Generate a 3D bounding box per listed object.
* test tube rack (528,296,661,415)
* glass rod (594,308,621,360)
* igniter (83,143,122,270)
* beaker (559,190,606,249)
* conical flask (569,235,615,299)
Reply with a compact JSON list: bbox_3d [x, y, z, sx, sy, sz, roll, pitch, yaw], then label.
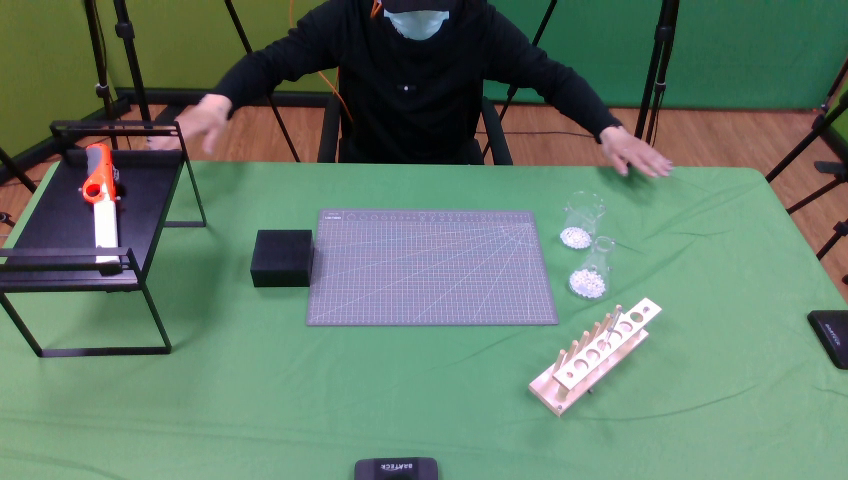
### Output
[{"bbox_3d":[0.285,0.178,1.005,0.242,0.085,0.066,-31,55,-29],"label":"test tube rack"},{"bbox_3d":[0.278,0.155,0.935,0.008,0.201,0.008,-1,54,1],"label":"glass rod"},{"bbox_3d":[-0.508,-0.063,0.962,0.057,0.025,0.274,-14,53,-18],"label":"igniter"},{"bbox_3d":[0.312,-0.036,1.202,0.074,0.101,0.083,-3,47,-6],"label":"beaker"},{"bbox_3d":[0.314,0.046,1.108,0.075,0.122,0.075,2,47,-2],"label":"conical flask"}]
